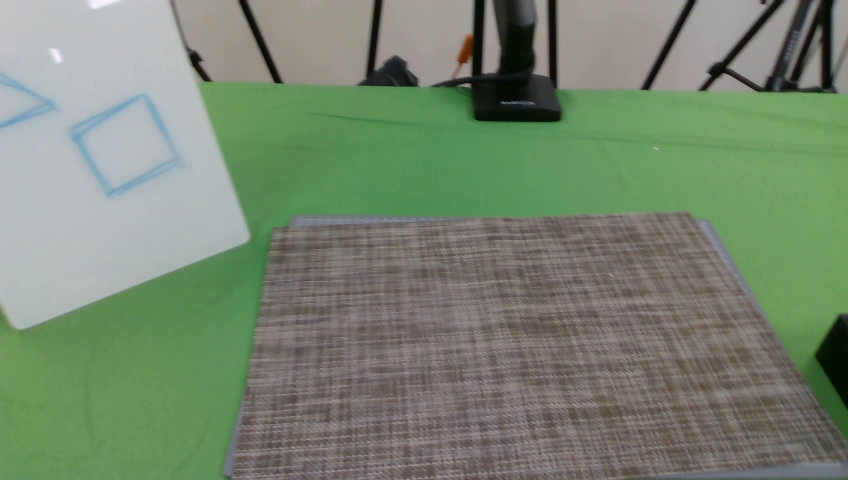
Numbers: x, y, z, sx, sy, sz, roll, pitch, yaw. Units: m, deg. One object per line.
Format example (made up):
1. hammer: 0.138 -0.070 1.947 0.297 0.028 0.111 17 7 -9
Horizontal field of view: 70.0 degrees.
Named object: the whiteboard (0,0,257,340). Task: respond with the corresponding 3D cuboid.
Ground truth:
1. whiteboard: -0.320 -0.107 0.559 0.217 0.307 0.142 -24 26 -27
